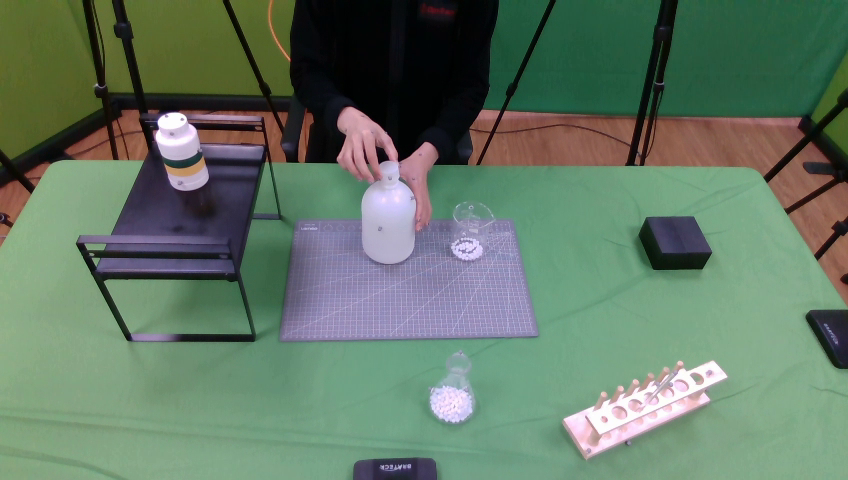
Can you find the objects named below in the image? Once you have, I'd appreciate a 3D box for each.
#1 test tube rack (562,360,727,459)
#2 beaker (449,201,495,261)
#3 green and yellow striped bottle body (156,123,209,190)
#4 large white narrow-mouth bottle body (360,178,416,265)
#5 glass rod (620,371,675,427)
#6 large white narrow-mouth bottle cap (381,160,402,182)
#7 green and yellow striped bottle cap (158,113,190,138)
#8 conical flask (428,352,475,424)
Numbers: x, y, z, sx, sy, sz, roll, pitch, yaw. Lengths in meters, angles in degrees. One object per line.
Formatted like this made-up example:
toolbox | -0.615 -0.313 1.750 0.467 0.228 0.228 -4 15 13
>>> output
test tube rack | 0.341 0.247 0.940 0.243 0.085 0.066 -16 49 -18
beaker | 0.089 -0.014 1.160 0.084 0.101 0.073 9 47 4
green and yellow striped bottle body | -0.395 -0.145 0.989 0.063 0.120 0.063 2 46 -2
large white narrow-mouth bottle body | -0.066 -0.049 1.119 0.102 0.195 0.101 4 45 -3
glass rod | 0.316 0.230 0.863 0.008 0.200 0.008 3 54 -3
large white narrow-mouth bottle cap | -0.056 -0.119 1.048 0.038 0.024 0.037 4 45 -4
green and yellow striped bottle cap | -0.393 -0.180 0.951 0.045 0.020 0.045 2 44 -2
conical flask | 0.046 0.220 0.920 0.075 0.122 0.075 2 46 -2
